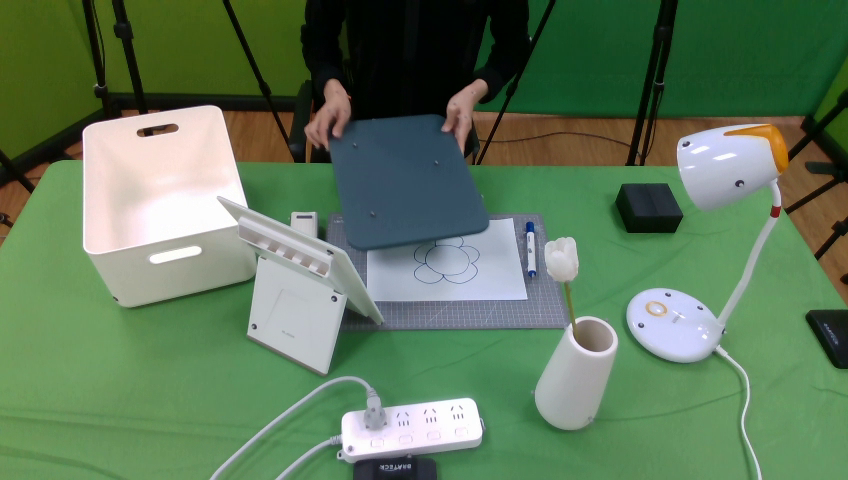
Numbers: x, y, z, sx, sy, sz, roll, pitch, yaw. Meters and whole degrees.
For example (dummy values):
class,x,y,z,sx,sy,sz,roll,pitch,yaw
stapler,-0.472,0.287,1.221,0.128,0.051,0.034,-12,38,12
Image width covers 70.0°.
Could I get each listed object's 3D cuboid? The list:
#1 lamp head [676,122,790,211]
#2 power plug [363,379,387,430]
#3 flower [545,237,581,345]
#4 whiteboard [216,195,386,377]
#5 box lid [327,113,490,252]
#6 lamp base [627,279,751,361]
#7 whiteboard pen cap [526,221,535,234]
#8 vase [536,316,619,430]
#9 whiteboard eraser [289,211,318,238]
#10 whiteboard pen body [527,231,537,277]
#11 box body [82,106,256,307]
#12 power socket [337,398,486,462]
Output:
class,x,y,z,sx,sy,sz,roll,pitch,yaw
lamp head,0.423,-0.104,0.819,0.122,0.113,0.112,-13,33,40
power plug,-0.071,0.252,0.911,0.035,0.053,0.072,3,40,0
flower,0.213,0.137,0.846,0.038,0.364,0.044,21,55,40
whiteboard,-0.212,0.093,0.938,0.216,0.307,0.143,24,70,17
box lid,-0.041,-0.125,1.179,0.263,0.015,0.369,-9,47,-10
lamp base,0.460,0.100,1.027,0.178,0.181,0.160,27,51,17
whiteboard pen cap,0.216,-0.022,1.234,0.018,0.018,0.033,6,44,1
vase,0.229,0.200,0.901,0.098,0.201,0.097,3,46,-3
whiteboard eraser,-0.234,-0.007,1.172,0.055,0.042,0.112,-3,46,-6
whiteboard pen body,0.211,0.018,1.191,0.017,0.017,0.140,6,44,1
box body,-0.471,-0.071,1.131,0.254,0.161,0.361,-14,49,-17
power socket,-0.018,0.285,0.914,0.227,0.033,0.071,-4,46,-8
